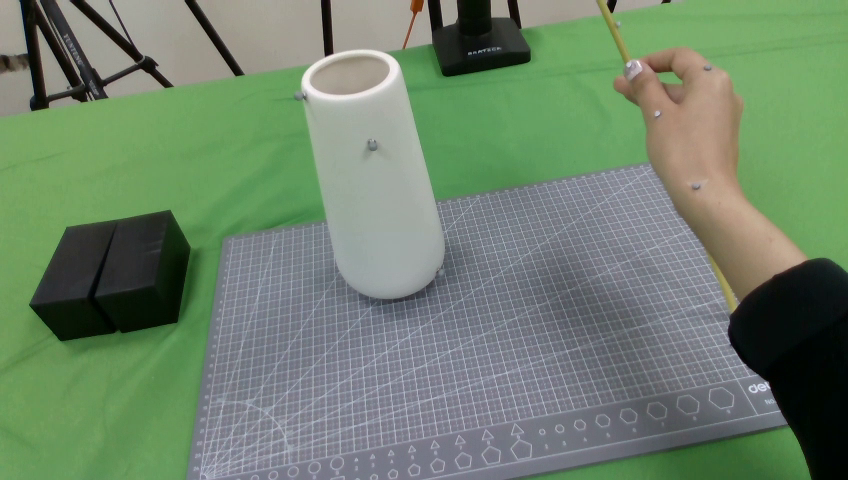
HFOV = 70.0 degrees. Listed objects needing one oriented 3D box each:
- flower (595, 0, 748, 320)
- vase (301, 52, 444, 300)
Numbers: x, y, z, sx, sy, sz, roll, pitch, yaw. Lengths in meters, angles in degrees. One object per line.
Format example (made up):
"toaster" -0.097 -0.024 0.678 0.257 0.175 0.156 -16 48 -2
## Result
"flower" 0.169 -0.104 0.458 0.044 0.361 0.038 -25 1 -7
"vase" -0.040 -0.043 0.487 0.098 0.202 0.097 -6 43 6
